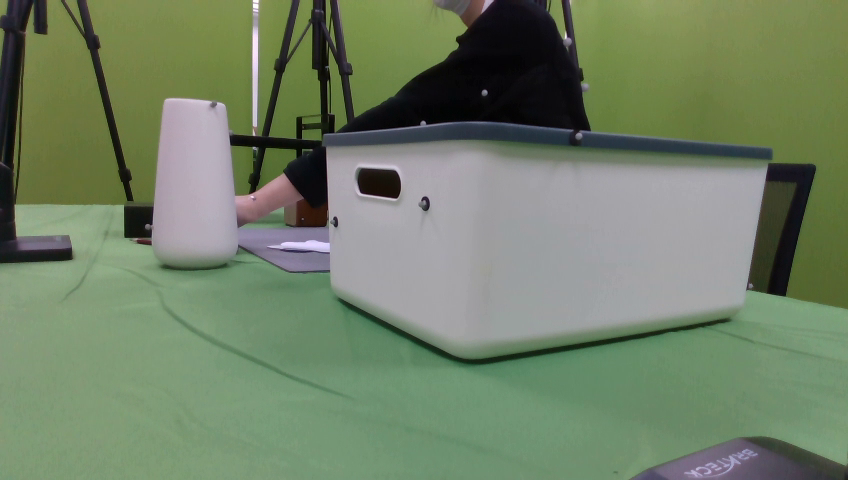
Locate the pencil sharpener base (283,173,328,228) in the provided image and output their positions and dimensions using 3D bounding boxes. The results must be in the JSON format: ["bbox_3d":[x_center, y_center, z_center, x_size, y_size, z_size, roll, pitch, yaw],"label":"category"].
[{"bbox_3d":[-0.239,-0.081,1.231,0.077,0.107,0.061,-2,8,-36],"label":"pencil sharpener base"}]

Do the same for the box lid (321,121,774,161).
[{"bbox_3d":[0.113,-0.085,0.573,0.373,0.015,0.262,-2,7,-33],"label":"box lid"}]

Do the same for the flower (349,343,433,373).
[{"bbox_3d":[0.103,0.072,0.592,0.362,0.044,0.038,-16,44,-9],"label":"flower"}]

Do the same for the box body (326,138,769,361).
[{"bbox_3d":[0.112,-0.010,0.583,0.366,0.160,0.253,-2,9,-33],"label":"box body"}]

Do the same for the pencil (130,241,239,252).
[{"bbox_3d":[-0.350,0.008,0.875,0.193,0.012,0.012,3,7,20],"label":"pencil"}]

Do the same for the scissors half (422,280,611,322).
[{"bbox_3d":[0.073,0.057,0.524,0.174,0.040,0.013,5,39,30],"label":"scissors half"}]

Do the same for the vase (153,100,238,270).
[{"bbox_3d":[-0.278,-0.066,0.736,0.098,0.200,0.098,2,9,0],"label":"vase"}]

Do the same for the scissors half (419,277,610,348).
[{"bbox_3d":[0.076,0.067,0.533,0.174,0.040,0.013,14,50,24],"label":"scissors half"}]
